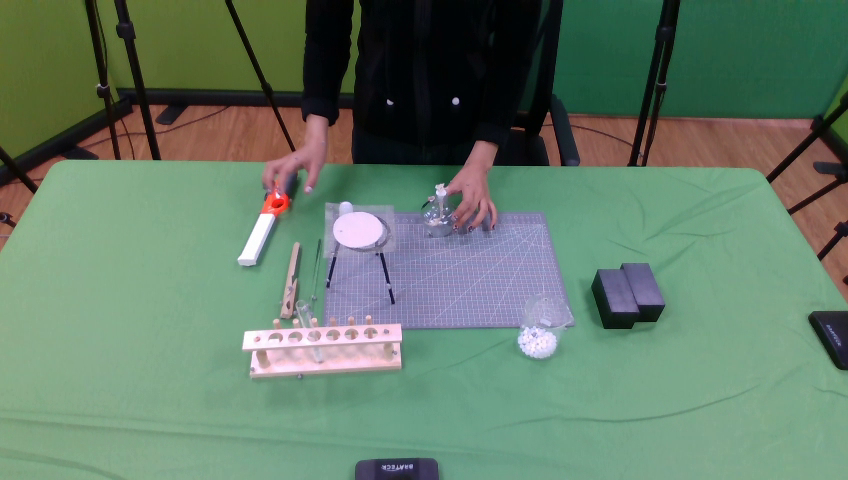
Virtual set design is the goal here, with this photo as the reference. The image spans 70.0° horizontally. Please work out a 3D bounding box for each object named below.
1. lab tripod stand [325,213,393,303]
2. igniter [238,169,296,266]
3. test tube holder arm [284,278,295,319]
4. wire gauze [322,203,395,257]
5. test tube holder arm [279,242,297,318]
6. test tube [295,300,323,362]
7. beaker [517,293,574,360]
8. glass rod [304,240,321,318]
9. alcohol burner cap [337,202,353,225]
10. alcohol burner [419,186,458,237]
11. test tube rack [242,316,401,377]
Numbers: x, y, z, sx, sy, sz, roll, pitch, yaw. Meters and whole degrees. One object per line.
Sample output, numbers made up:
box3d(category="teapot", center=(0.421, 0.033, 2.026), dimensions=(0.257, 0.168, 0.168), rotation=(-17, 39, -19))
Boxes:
box3d(category="lab tripod stand", center=(-0.104, 0.031, 1.080), dimensions=(0.148, 0.132, 0.147), rotation=(4, 45, -4))
box3d(category="igniter", center=(-0.313, -0.055, 1.224), dimensions=(0.057, 0.025, 0.275), rotation=(1, 45, 10))
box3d(category="test tube holder arm", center=(-0.241, 0.103, 1.085), dimensions=(0.010, 0.015, 0.087), rotation=(26, 38, -27))
box3d(category="wire gauze", center=(-0.111, -0.020, 1.035), dimensions=(0.121, 0.011, 0.124), rotation=(0, 47, -7))
box3d(category="test tube holder arm", center=(-0.249, 0.069, 1.114), dimensions=(0.013, 0.015, 0.177), rotation=(25, 38, -27))
box3d(category="test tube", center=(-0.176, 0.143, 0.935), dimensions=(0.017, 0.151, 0.017), rotation=(-2, 47, 2))
box3d(category="beaker", center=(0.200, 0.149, 1.018), dimensions=(0.084, 0.101, 0.073), rotation=(14, 47, 8))
box3d(category="glass rod", center=(-0.207, 0.068, 1.128), dimensions=(0.008, 0.008, 0.198), rotation=(2, 43, -2))
box3d(category="alcohol burner cap", center=(-0.161, -0.056, 1.223), dimensions=(0.034, 0.048, 0.033), rotation=(2, 46, -2))
box3d(category="alcohol burner", center=(0.030, -0.063, 1.196), dimensions=(0.078, 0.119, 0.077), rotation=(3, 48, -3))
box3d(category="test tube rack", center=(-0.161, 0.166, 0.983), dimensions=(0.242, 0.085, 0.066), rotation=(-2, 46, -6))
